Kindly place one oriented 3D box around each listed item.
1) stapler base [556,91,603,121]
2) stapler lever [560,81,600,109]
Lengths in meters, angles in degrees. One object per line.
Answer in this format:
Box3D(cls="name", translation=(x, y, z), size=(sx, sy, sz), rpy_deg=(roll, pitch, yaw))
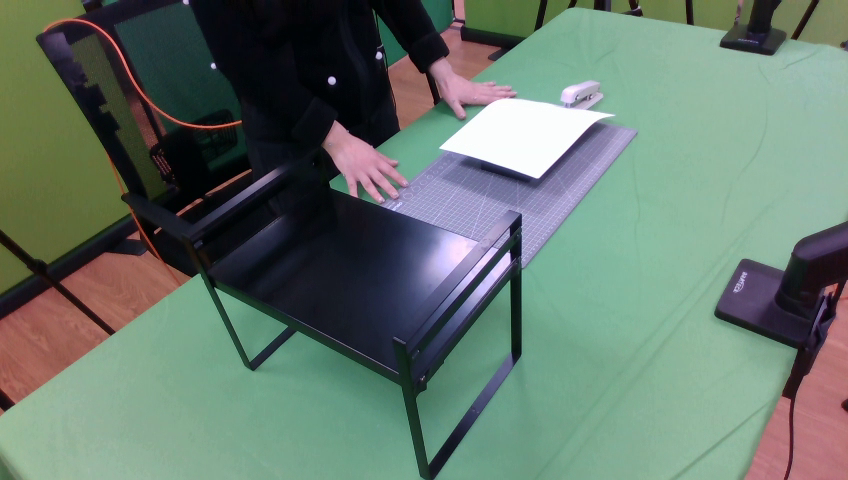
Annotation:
Box3D(cls="stapler base", translation=(0.324, -0.287, 1.261), size=(0.041, 0.024, 0.131), rpy_deg=(28, 49, 34))
Box3D(cls="stapler lever", translation=(0.322, -0.307, 1.247), size=(0.026, 0.040, 0.118), rpy_deg=(28, 49, 34))
